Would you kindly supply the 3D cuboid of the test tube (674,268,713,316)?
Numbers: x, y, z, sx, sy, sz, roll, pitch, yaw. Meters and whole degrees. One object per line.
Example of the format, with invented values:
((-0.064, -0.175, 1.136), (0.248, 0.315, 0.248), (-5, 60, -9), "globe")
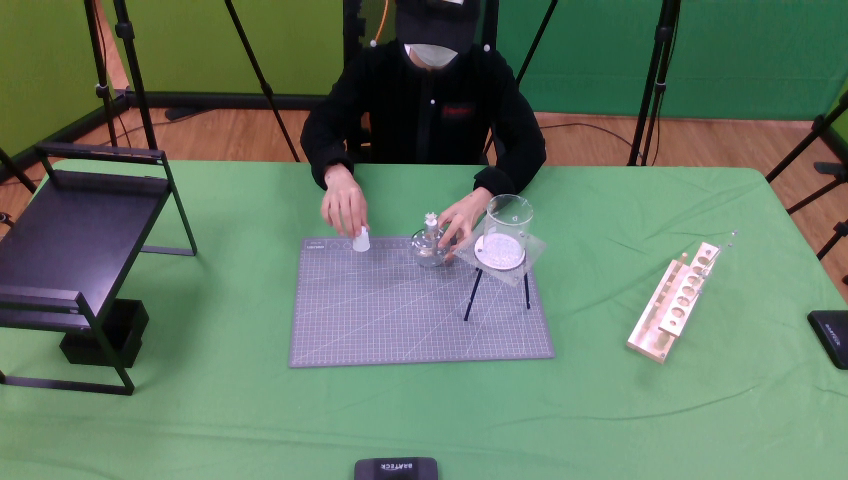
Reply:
((0.445, 0.098, 1.017), (0.017, 0.151, 0.017), (4, 49, -4), "test tube")

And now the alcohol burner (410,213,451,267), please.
((0.013, -0.006, 1.134), (0.078, 0.120, 0.077), (1, 48, -1), "alcohol burner")

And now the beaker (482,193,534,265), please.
((0.135, -0.016, 0.979), (0.073, 0.101, 0.084), (35, 52, 28), "beaker")

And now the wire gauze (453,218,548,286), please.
((0.129, 0.014, 1.018), (0.124, 0.011, 0.121), (26, 47, 25), "wire gauze")

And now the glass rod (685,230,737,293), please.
((0.495, 0.042, 1.051), (0.008, 0.200, 0.008), (2, 55, -2), "glass rod")

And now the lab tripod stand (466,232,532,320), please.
((0.125, 0.059, 1.065), (0.148, 0.132, 0.147), (1, 45, 0), "lab tripod stand")

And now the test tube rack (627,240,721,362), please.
((0.452, 0.098, 1.087), (0.066, 0.085, 0.242), (28, 51, 22), "test tube rack")

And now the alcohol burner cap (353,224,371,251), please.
((-0.114, -0.007, 1.100), (0.034, 0.048, 0.033), (1, 39, 0), "alcohol burner cap")
